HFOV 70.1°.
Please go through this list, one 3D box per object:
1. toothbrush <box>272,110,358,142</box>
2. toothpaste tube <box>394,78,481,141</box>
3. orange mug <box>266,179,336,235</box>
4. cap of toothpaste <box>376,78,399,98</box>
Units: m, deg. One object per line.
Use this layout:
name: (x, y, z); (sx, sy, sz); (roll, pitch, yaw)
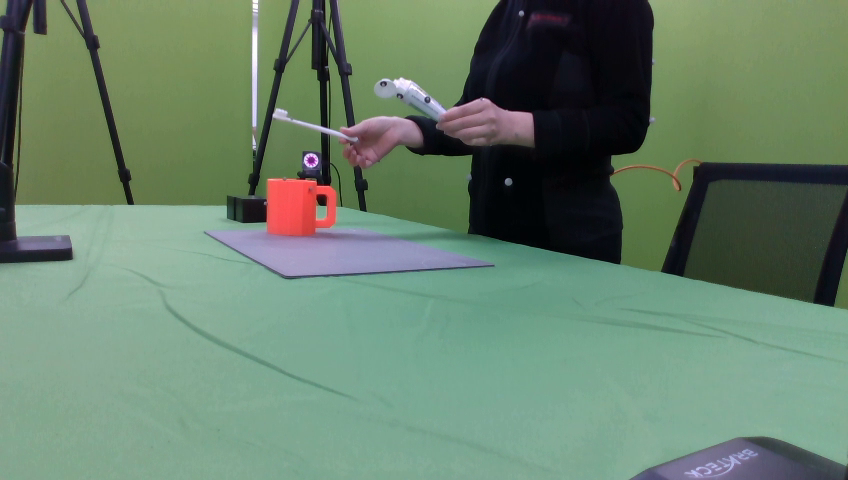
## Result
toothbrush: (-0.191, -0.202, 1.088); (0.183, 0.016, 0.014); (9, 17, -45)
toothpaste tube: (0.020, -0.207, 0.966); (0.166, 0.034, 0.055); (29, 19, -18)
orange mug: (-0.222, -0.062, 1.094); (0.127, 0.101, 0.083); (-5, 10, -22)
cap of toothpaste: (-0.056, -0.233, 0.924); (0.037, 0.011, 0.037); (-8, -35, -5)
